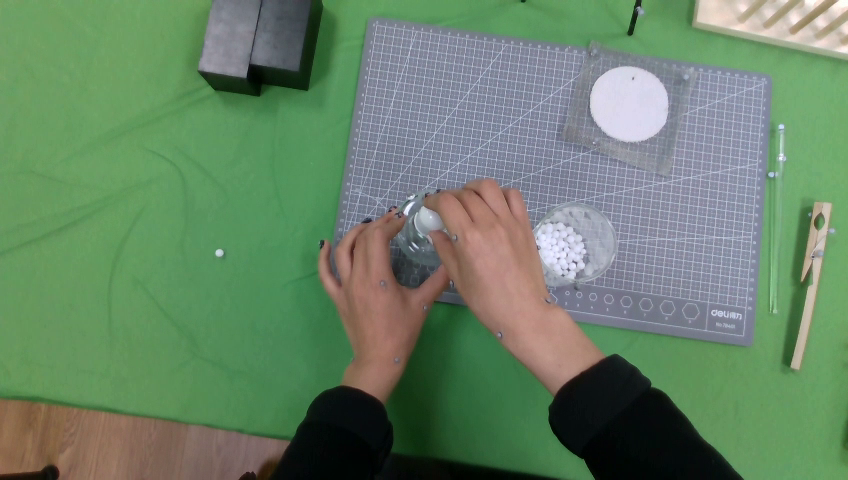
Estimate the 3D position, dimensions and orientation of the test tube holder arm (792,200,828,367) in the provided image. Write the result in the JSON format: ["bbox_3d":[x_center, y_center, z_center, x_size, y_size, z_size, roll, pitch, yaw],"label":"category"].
[{"bbox_3d":[0.405,0.045,0.635,0.013,0.015,0.178,7,82,36],"label":"test tube holder arm"}]

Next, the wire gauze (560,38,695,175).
[{"bbox_3d":[0.221,-0.148,0.659,0.125,0.011,0.121,20,84,1],"label":"wire gauze"}]

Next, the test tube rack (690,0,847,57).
[{"bbox_3d":[0.422,-0.254,0.639,0.242,0.085,0.066,12,83,1],"label":"test tube rack"}]

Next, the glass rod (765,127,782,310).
[{"bbox_3d":[0.375,-0.024,0.650,0.008,0.008,0.199,6,86,0],"label":"glass rod"}]

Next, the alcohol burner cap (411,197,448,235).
[{"bbox_3d":[0.007,-0.024,0.551,0.034,0.048,0.034,1,83,-6],"label":"alcohol burner cap"}]

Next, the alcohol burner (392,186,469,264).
[{"bbox_3d":[0.006,-0.018,0.587,0.078,0.119,0.077,0,82,1],"label":"alcohol burner"}]

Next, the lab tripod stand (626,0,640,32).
[{"bbox_3d":[0.178,-0.292,0.615,0.148,0.131,0.148,0,85,0],"label":"lab tripod stand"}]

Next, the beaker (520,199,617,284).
[{"bbox_3d":[0.133,0.006,0.593,0.084,0.100,0.074,1,82,0],"label":"beaker"}]

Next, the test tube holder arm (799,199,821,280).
[{"bbox_3d":[0.410,0.000,0.643,0.010,0.015,0.087,8,82,36],"label":"test tube holder arm"}]
